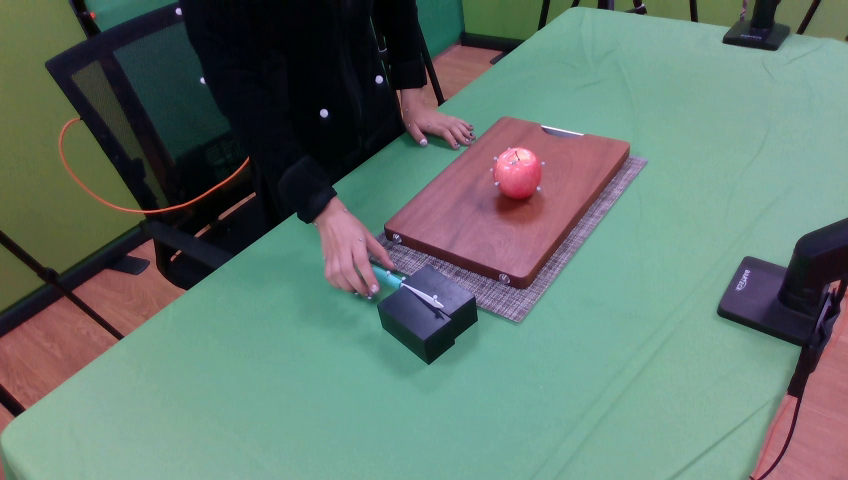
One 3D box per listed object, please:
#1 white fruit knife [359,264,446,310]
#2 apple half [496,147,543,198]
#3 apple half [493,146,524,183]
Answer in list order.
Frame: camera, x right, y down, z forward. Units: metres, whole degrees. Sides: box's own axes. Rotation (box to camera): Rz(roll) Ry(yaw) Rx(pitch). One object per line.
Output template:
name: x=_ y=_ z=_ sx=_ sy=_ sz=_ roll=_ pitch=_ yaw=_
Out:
white fruit knife: x=-0.034 y=0.066 z=0.869 sx=0.016 sy=0.027 sz=0.205 roll=-37 pitch=33 yaw=-27
apple half: x=0.164 y=-0.104 z=0.991 sx=0.081 sy=0.075 sz=0.053 roll=-31 pitch=48 yaw=-28
apple half: x=0.139 y=-0.122 z=1.015 sx=0.081 sy=0.081 sz=0.032 roll=-34 pitch=50 yaw=-25
